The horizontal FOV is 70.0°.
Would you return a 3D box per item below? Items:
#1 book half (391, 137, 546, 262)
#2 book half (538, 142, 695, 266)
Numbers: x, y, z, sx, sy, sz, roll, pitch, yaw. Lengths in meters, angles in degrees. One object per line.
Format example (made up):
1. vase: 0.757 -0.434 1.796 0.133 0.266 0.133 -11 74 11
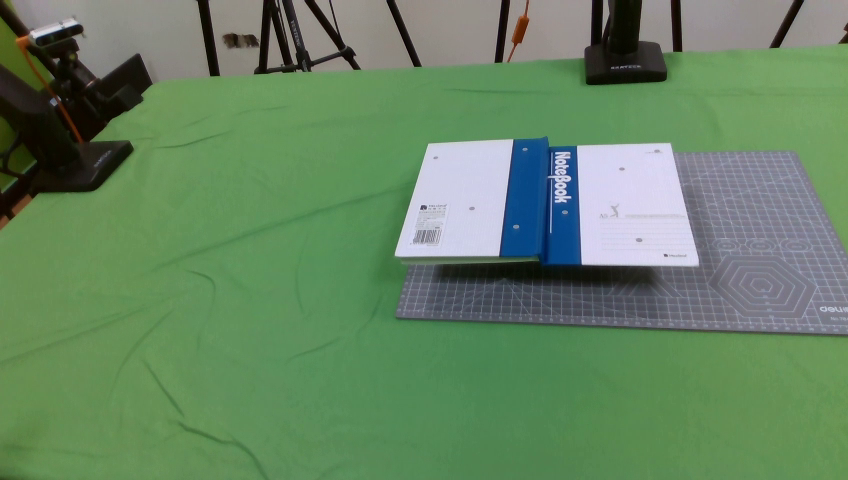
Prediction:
1. book half: 0.056 -0.051 0.669 0.148 0.016 0.208 0 42 13
2. book half: 0.197 -0.045 0.644 0.143 0.007 0.208 1 41 12
